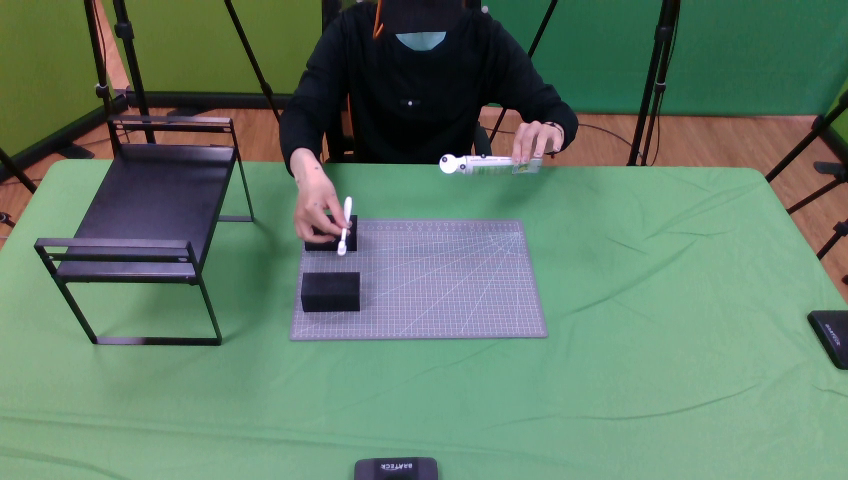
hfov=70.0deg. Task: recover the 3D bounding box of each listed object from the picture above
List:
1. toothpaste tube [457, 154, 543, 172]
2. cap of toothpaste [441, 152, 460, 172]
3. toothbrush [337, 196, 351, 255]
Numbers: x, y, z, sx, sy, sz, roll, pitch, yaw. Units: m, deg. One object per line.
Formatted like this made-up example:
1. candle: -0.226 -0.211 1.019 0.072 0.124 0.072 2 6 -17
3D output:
1. toothpaste tube: 0.135 -0.143 1.126 0.165 0.055 0.034 1 74 -2
2. cap of toothpaste: 0.047 -0.142 1.104 0.037 0.037 0.011 -12 10 -15
3. toothbrush: -0.143 -0.032 1.090 0.014 0.017 0.181 -3 35 0
